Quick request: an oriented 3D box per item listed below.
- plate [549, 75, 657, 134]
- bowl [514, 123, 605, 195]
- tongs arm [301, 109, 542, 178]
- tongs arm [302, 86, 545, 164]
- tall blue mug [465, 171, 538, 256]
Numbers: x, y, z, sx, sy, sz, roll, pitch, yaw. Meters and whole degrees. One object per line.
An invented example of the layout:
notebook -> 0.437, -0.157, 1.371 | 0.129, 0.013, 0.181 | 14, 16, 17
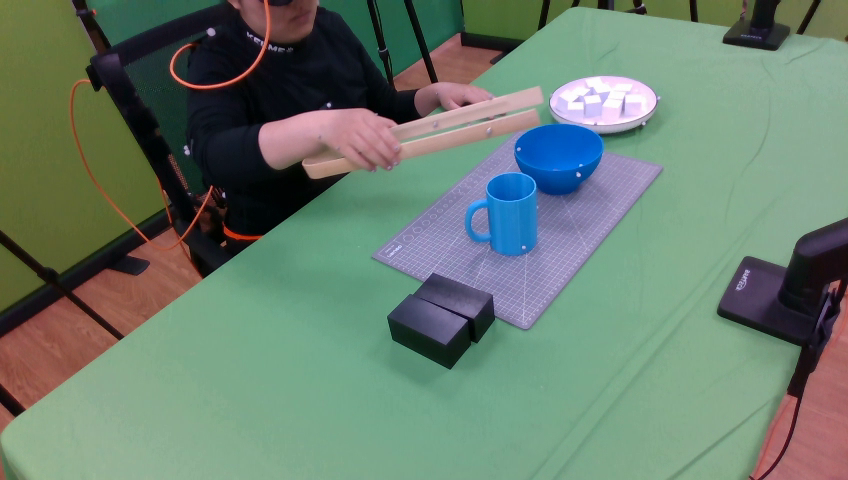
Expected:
plate -> 0.357, -0.269, 1.220 | 0.209, 0.038, 0.208 | -5, 41, 5
bowl -> 0.232, -0.131, 1.045 | 0.151, 0.077, 0.150 | -5, 40, 5
tongs arm -> -0.019, -0.136, 0.877 | 0.385, 0.028, 0.028 | -9, 39, 24
tongs arm -> -0.010, -0.163, 0.911 | 0.383, 0.027, 0.050 | -10, 35, 22
tall blue mug -> 0.125, -0.033, 0.925 | 0.107, 0.108, 0.077 | -32, 46, -25
